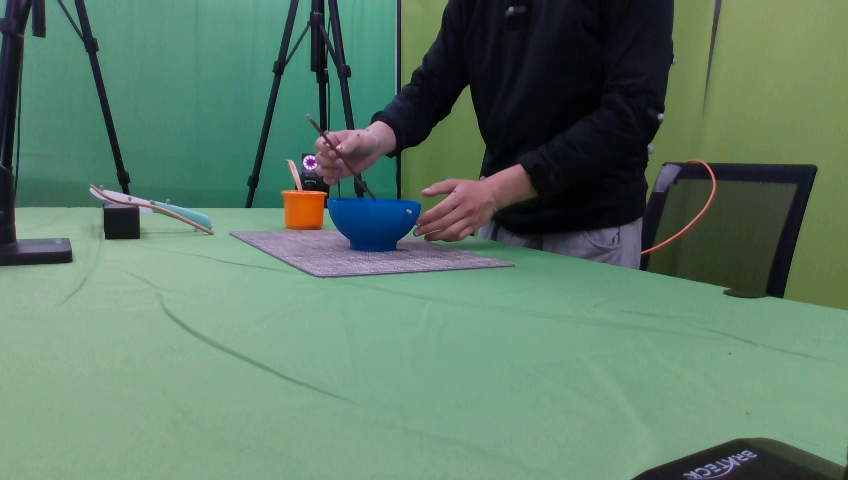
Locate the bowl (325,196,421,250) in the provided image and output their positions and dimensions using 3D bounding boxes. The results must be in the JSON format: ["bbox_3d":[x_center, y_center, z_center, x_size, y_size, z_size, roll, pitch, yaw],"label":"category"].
[{"bbox_3d":[-0.081,-0.027,0.957,0.151,0.077,0.151,2,7,0],"label":"bowl"}]

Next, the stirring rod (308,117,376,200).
[{"bbox_3d":[-0.127,-0.125,0.955,0.006,0.177,0.014,-43,34,-8],"label":"stirring rod"}]

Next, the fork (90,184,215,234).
[{"bbox_3d":[-0.452,-0.049,1.018,0.208,0.018,0.028,21,-6,-33],"label":"fork"}]

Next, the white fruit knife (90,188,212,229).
[{"bbox_3d":[-0.478,-0.058,1.073,0.208,0.027,0.016,17,-4,-30],"label":"white fruit knife"}]

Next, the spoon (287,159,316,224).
[{"bbox_3d":[-0.261,-0.104,1.263,0.042,0.021,0.193,0,53,-28],"label":"spoon"}]
